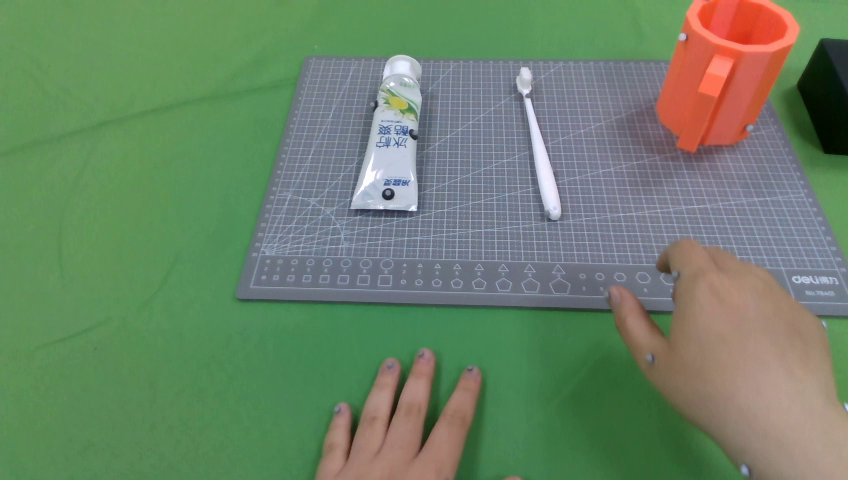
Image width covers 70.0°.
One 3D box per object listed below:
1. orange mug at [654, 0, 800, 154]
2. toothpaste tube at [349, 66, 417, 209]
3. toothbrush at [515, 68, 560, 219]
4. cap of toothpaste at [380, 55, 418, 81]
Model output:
[{"bbox_3d":[0.245,-0.134,0.509,0.083,0.102,0.126,24,51,20],"label":"orange mug"},{"bbox_3d":[-0.030,-0.094,0.528,0.055,0.035,0.163,-1,55,6],"label":"toothpaste tube"},{"bbox_3d":[0.099,-0.090,0.529,0.014,0.017,0.180,5,52,-11],"label":"toothbrush"},{"bbox_3d":[-0.023,-0.158,0.570,0.037,0.037,0.011,5,58,5],"label":"cap of toothpaste"}]
